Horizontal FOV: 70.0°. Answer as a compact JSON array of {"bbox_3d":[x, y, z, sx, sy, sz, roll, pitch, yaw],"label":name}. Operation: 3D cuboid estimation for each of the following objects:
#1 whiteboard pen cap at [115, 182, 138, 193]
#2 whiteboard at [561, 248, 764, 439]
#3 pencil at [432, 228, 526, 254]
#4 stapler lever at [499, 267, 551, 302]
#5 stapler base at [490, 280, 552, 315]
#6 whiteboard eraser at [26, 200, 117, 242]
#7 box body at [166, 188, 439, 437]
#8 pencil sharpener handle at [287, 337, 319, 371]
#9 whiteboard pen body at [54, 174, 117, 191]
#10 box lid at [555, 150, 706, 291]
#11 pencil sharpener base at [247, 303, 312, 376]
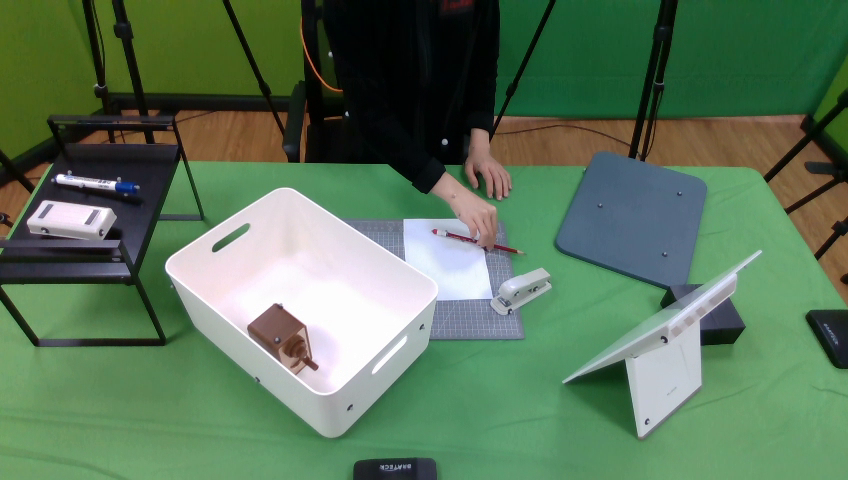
[{"bbox_3d":[-0.483,-0.086,0.984,0.033,0.018,0.018,7,46,10],"label":"whiteboard pen cap"},{"bbox_3d":[0.386,0.176,0.905,0.217,0.306,0.143,-26,72,-27],"label":"whiteboard"},{"bbox_3d":[0.109,0.004,1.204,0.194,0.012,0.012,15,47,10],"label":"pencil"},{"bbox_3d":[0.185,0.076,1.101,0.118,0.040,0.026,-25,57,-29],"label":"stapler lever"},{"bbox_3d":[0.181,0.094,1.118,0.130,0.024,0.041,-24,57,-29],"label":"stapler base"},{"bbox_3d":[-0.532,-0.026,0.919,0.113,0.042,0.055,7,45,3],"label":"whiteboard eraser"},{"bbox_3d":[-0.190,0.108,0.980,0.362,0.161,0.254,32,52,24],"label":"box body"},{"bbox_3d":[-0.181,0.178,0.928,0.030,0.068,0.036,32,68,23],"label":"pencil sharpener handle"},{"bbox_3d":[-0.541,-0.093,0.993,0.140,0.017,0.017,7,46,9],"label":"whiteboard pen body"},{"bbox_3d":[0.451,-0.059,1.297,0.263,0.015,0.370,20,48,15],"label":"box lid"},{"bbox_3d":[-0.224,0.164,0.955,0.076,0.107,0.061,32,54,23],"label":"pencil sharpener base"}]
